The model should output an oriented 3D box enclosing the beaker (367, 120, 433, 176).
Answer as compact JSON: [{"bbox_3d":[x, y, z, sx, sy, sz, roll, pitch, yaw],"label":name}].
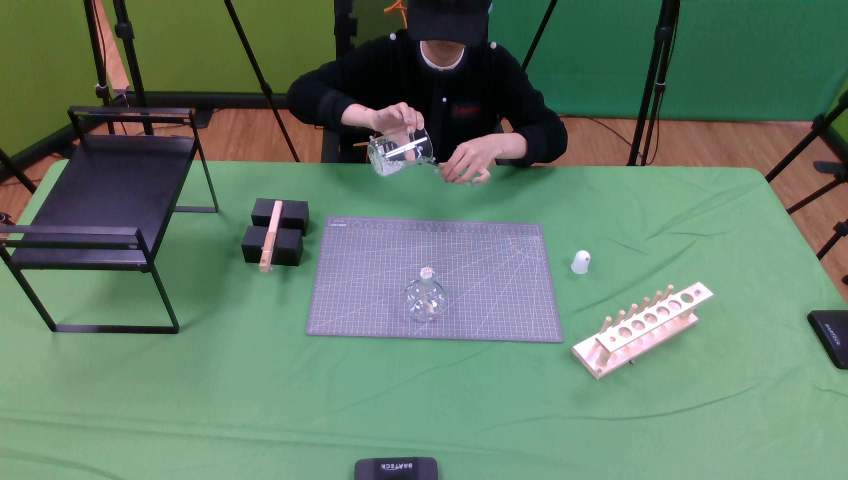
[{"bbox_3d":[-0.045,-0.160,1.089,0.100,0.084,0.073,-24,43,-18],"label":"beaker"}]

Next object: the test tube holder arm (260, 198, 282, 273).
[{"bbox_3d":[-0.282,-0.012,1.120,0.015,0.013,0.177,-3,48,3],"label":"test tube holder arm"}]

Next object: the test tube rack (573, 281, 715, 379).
[{"bbox_3d":[0.378,0.140,1.038,0.242,0.085,0.066,-22,51,-23],"label":"test tube rack"}]

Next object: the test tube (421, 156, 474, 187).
[{"bbox_3d":[0.049,-0.132,1.180,0.151,0.017,0.017,20,30,-44],"label":"test tube"}]

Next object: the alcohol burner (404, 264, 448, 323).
[{"bbox_3d":[0.003,0.087,1.042,0.078,0.120,0.077,1,45,0],"label":"alcohol burner"}]

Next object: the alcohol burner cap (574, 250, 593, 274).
[{"bbox_3d":[0.308,0.039,1.163,0.034,0.048,0.033,1,46,-1],"label":"alcohol burner cap"}]

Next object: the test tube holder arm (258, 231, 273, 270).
[{"bbox_3d":[-0.282,0.018,1.086,0.015,0.010,0.087,-3,47,3],"label":"test tube holder arm"}]
